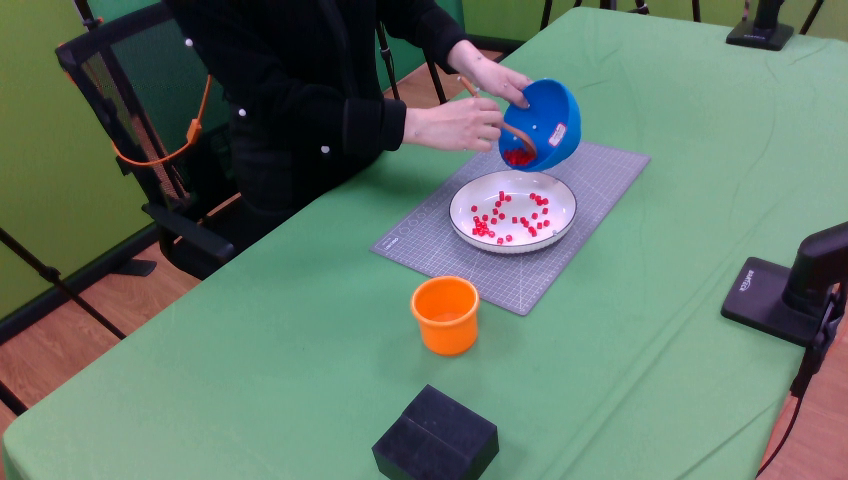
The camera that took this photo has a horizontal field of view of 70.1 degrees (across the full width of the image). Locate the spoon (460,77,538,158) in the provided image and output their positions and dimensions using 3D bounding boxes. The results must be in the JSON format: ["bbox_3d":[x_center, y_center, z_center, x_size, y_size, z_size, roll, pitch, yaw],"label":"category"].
[{"bbox_3d":[0.119,-0.188,0.940,0.021,0.195,0.041,-49,34,12],"label":"spoon"}]

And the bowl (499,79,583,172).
[{"bbox_3d":[0.201,-0.174,0.975,0.077,0.151,0.150,15,25,-36],"label":"bowl"}]

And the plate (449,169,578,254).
[{"bbox_3d":[0.146,-0.044,0.994,0.209,0.038,0.208,-5,40,5],"label":"plate"}]
